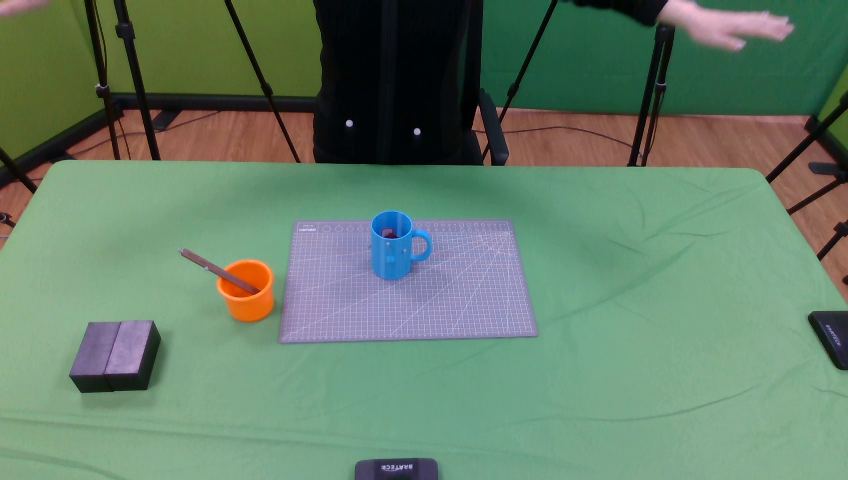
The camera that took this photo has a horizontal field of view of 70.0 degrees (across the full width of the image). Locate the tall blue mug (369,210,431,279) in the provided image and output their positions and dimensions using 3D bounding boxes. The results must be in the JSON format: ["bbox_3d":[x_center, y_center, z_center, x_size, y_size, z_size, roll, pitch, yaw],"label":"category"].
[{"bbox_3d":[-0.049,0.005,1.125,0.107,0.108,0.077,-19,50,-21],"label":"tall blue mug"}]

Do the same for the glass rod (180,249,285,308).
[{"bbox_3d":[-0.321,0.068,1.028,0.200,0.008,0.008,34,40,-25],"label":"glass rod"}]
